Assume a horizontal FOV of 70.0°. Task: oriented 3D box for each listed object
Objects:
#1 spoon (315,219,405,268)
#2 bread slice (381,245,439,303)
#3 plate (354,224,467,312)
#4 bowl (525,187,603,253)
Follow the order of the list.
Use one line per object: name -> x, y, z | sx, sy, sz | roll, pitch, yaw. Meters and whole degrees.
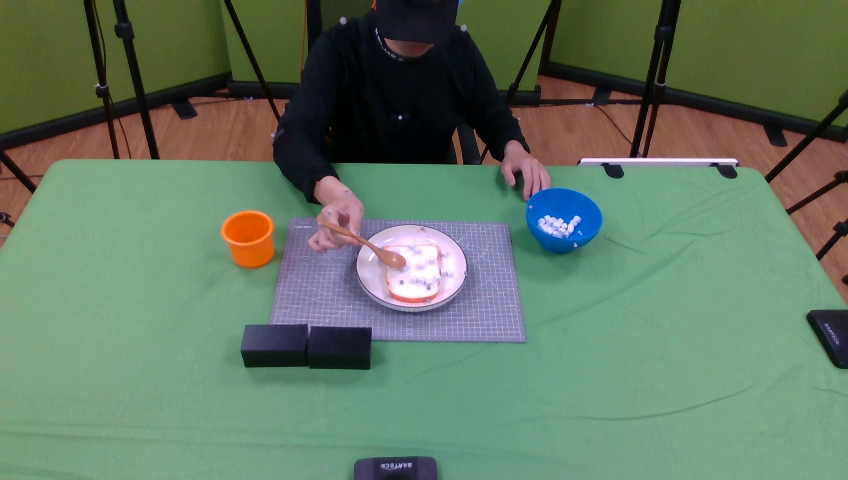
spoon -> -0.109, 0.004, 1.062 | 0.195, 0.021, 0.041 | 32, 30, -35
bread slice -> -0.022, 0.061, 1.126 | 0.107, 0.018, 0.133 | -3, 45, -8
plate -> -0.025, 0.055, 1.128 | 0.209, 0.038, 0.208 | 3, 46, -2
bowl -> 0.271, -0.028, 1.207 | 0.151, 0.077, 0.150 | 2, 46, -2
